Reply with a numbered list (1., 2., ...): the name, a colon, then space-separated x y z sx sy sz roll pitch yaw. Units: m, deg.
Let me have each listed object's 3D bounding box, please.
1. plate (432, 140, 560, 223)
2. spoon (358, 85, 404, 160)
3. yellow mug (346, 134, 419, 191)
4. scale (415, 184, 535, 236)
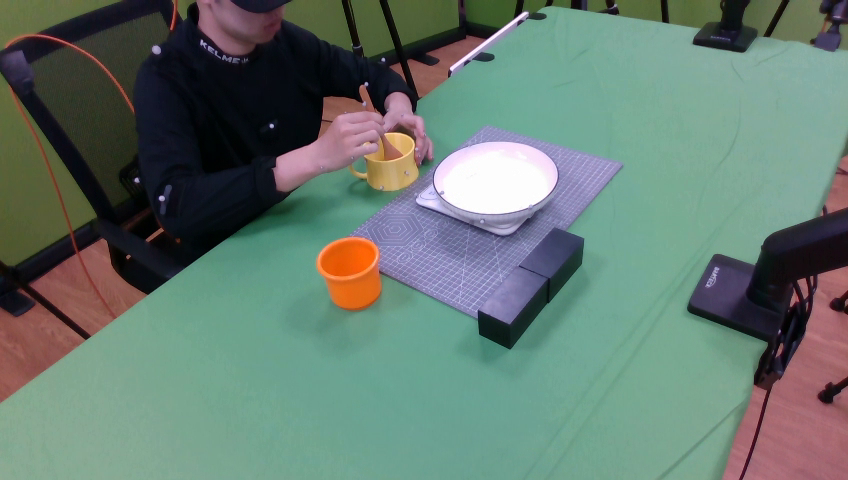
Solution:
1. plate: 0.118 -0.094 0.999 0.209 0.038 0.208 -4 41 4
2. spoon: -0.075 -0.186 1.042 0.041 0.195 0.021 -31 43 -4
3. yellow mug: -0.079 -0.142 1.115 0.131 0.064 0.099 -7 39 3
4. scale: 0.099 -0.080 1.035 0.199 0.032 0.149 23 48 31
